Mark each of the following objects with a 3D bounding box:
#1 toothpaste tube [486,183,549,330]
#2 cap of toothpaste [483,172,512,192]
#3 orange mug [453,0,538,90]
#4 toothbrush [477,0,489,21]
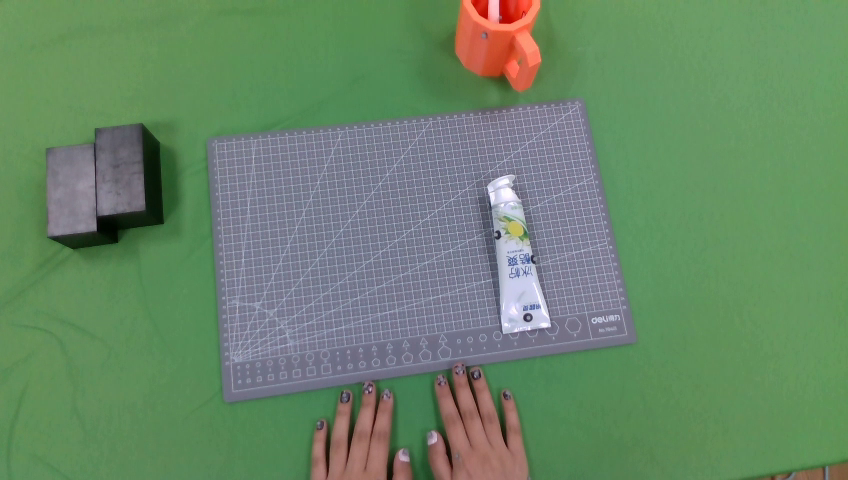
[{"bbox_3d":[0.097,0.015,0.677,0.055,0.034,0.164,-10,81,2],"label":"toothpaste tube"},{"bbox_3d":[0.085,-0.065,0.689,0.037,0.037,0.011,-20,75,-8],"label":"cap of toothpaste"},{"bbox_3d":[0.088,-0.241,0.704,0.083,0.101,0.125,-29,75,-9],"label":"orange mug"},{"bbox_3d":[0.069,-0.285,0.672,0.014,0.183,0.016,-16,41,-23],"label":"toothbrush"}]
